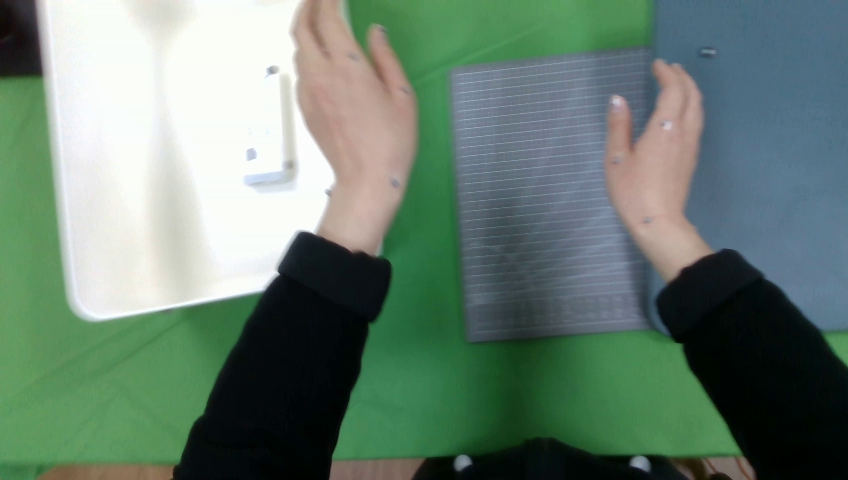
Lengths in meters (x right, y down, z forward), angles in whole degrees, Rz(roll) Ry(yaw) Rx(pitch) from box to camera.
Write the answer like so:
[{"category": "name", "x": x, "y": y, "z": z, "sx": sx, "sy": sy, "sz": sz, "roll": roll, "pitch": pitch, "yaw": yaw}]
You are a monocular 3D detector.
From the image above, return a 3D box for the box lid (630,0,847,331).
[{"category": "box lid", "x": 0.339, "y": -0.091, "z": 0.591, "sx": 0.263, "sy": 0.015, "sz": 0.372, "roll": -4, "pitch": 100, "yaw": 5}]

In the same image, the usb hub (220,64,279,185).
[{"category": "usb hub", "x": -0.189, "y": -0.125, "z": 0.659, "sx": 0.049, "sy": 0.025, "sz": 0.125, "roll": -7, "pitch": 88, "yaw": 2}]

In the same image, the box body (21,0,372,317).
[{"category": "box body", "x": -0.207, "y": -0.123, "z": 0.598, "sx": 0.254, "sy": 0.160, "sz": 0.363, "roll": -11, "pitch": 86, "yaw": 3}]
